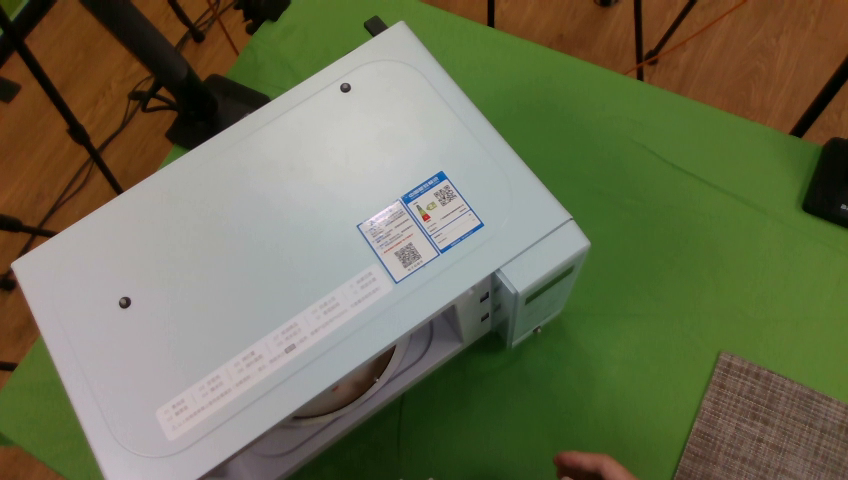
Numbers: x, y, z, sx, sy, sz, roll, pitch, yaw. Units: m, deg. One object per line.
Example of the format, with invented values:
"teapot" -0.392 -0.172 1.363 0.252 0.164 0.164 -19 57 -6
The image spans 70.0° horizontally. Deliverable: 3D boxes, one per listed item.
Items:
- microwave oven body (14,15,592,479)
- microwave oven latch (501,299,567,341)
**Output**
"microwave oven body" -0.110 0.040 0.650 0.442 0.262 0.323 -35 70 -6
"microwave oven latch" 0.129 0.085 0.711 0.079 0.030 0.030 -33 70 -6
